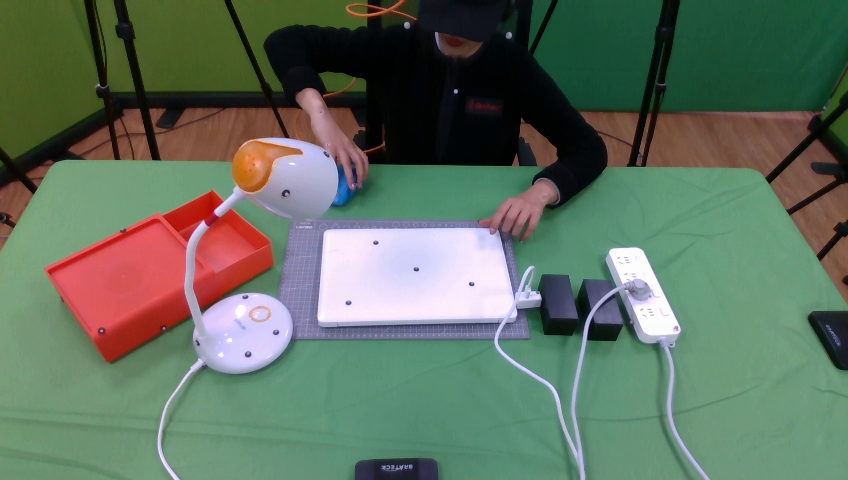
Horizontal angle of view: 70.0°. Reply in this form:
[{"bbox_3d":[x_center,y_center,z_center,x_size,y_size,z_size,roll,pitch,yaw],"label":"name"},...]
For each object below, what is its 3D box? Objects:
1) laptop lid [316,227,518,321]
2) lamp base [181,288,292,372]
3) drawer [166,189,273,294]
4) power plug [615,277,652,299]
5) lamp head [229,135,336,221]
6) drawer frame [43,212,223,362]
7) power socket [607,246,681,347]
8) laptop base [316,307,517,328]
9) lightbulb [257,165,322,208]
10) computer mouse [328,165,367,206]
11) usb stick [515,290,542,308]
[{"bbox_3d":[-0.016,0.057,1.126,0.357,0.013,0.240,0,44,-4],"label":"laptop lid"},{"bbox_3d":[-0.309,0.108,0.959,0.160,0.181,0.179,29,55,22],"label":"lamp base"},{"bbox_3d":[-0.419,0.022,1.108,0.193,0.073,0.211,37,55,27],"label":"drawer"},{"bbox_3d":[0.375,0.088,1.097,0.072,0.053,0.035,5,46,2],"label":"power plug"},{"bbox_3d":[-0.196,-0.085,0.791,0.112,0.112,0.123,35,14,27],"label":"lamp head"},{"bbox_3d":[-0.497,0.073,1.049,0.213,0.083,0.200,-34,57,-31],"label":"drawer frame"},{"bbox_3d":[0.403,0.096,1.123,0.072,0.033,0.225,-3,47,-5],"label":"power socket"},{"bbox_3d":[-0.017,0.067,1.133,0.355,0.023,0.234,-1,42,-5],"label":"laptop base"},{"bbox_3d":[-0.181,-0.076,0.810,0.059,0.059,0.108,36,11,27],"label":"lightbulb"},{"bbox_3d":[-0.175,-0.120,1.289,0.062,0.041,0.117,20,51,21],"label":"computer mouse"},{"bbox_3d":[0.181,0.107,1.089,0.059,0.027,0.021,-6,47,-4],"label":"usb stick"}]
